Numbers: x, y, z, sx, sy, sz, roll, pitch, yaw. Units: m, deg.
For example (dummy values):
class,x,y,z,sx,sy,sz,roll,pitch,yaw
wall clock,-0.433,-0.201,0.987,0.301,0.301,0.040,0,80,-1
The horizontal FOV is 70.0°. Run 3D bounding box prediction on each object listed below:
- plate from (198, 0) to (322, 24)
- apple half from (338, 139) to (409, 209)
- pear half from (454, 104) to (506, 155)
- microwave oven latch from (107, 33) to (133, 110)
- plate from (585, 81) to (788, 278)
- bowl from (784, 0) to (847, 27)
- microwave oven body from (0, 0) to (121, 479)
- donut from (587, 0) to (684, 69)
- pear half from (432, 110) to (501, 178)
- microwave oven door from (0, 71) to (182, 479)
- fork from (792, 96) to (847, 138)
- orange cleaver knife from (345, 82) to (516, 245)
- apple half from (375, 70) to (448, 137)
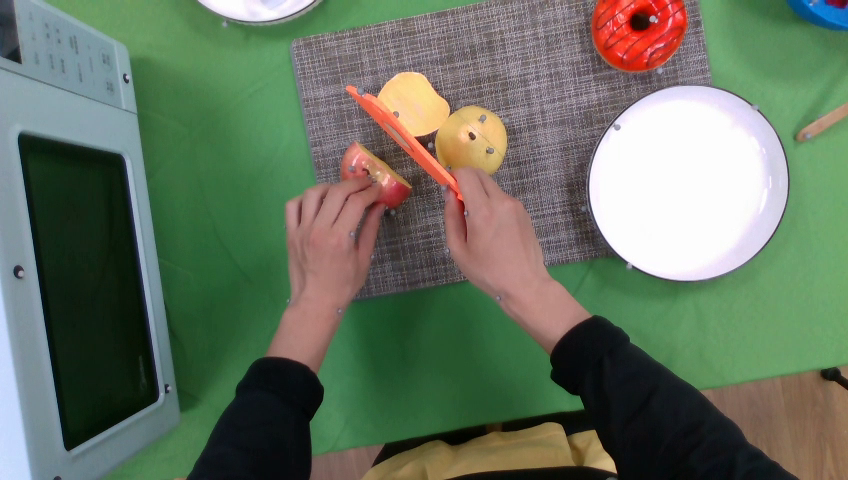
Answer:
class,x,y,z,sx,sy,sz,roll,pitch,yaw
plate,-0.178,-0.340,0.669,0.207,0.039,0.207,0,93,3
apple half,-0.061,-0.064,0.654,0.081,0.074,0.053,39,99,-4
pear half,0.064,-0.122,0.636,0.070,0.088,0.031,38,94,7
microwave oven latch,-0.344,-0.184,0.667,0.030,0.029,0.079,-6,93,3
plate,0.277,-0.063,0.652,0.209,0.038,0.209,0,93,3
bowl,0.422,-0.284,0.617,0.151,0.077,0.151,0,93,3
microwave oven body,-0.474,0.014,0.588,0.326,0.260,0.442,-8,93,3
donut,0.223,-0.232,0.644,0.099,0.048,0.099,0,94,6
pear half,0.040,-0.095,0.628,0.076,0.110,0.056,39,94,5
microwave oven door,-0.324,0.038,0.575,0.039,0.244,0.356,-8,92,4
fork,0.476,-0.171,0.615,0.207,0.018,0.028,-38,98,24
orange cleaver knife,0.009,-0.069,0.564,0.213,0.076,0.012,42,89,-26
apple half,-0.018,-0.143,0.664,0.081,0.033,0.081,3,74,-11
